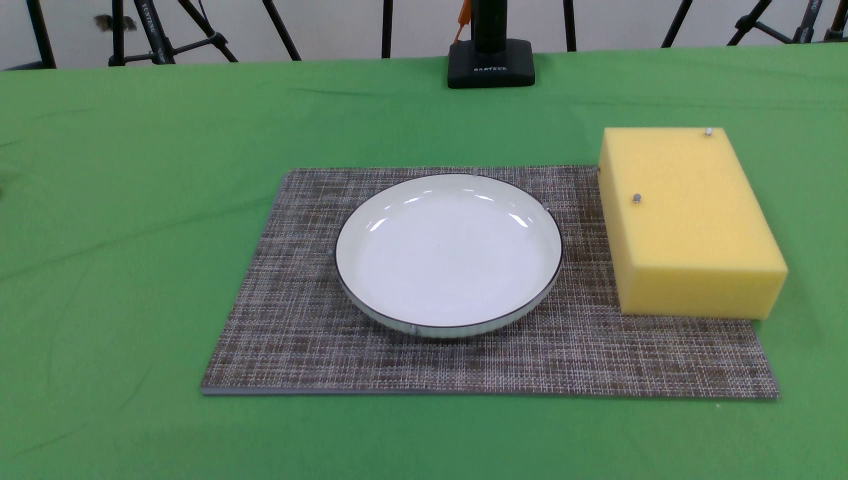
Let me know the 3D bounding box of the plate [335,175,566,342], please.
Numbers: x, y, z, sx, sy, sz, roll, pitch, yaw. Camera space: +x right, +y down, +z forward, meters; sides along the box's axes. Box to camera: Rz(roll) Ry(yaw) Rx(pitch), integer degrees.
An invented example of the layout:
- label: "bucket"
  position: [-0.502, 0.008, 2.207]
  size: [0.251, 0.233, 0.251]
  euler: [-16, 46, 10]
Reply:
- label: "plate"
  position: [0.024, 0.016, 0.558]
  size: [0.207, 0.039, 0.205]
  euler: [-3, 42, 3]

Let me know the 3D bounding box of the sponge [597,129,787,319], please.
- label: "sponge"
  position: [0.235, -0.024, 0.565]
  size: [0.118, 0.061, 0.205]
  euler: [1, 42, 6]
